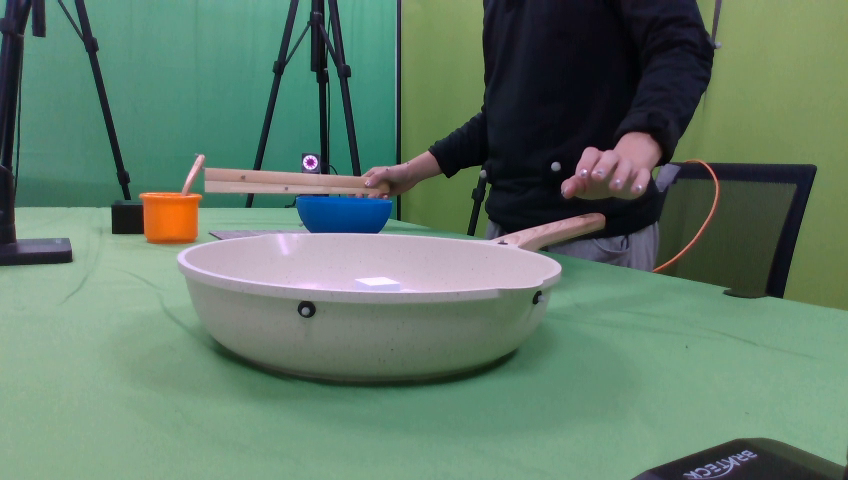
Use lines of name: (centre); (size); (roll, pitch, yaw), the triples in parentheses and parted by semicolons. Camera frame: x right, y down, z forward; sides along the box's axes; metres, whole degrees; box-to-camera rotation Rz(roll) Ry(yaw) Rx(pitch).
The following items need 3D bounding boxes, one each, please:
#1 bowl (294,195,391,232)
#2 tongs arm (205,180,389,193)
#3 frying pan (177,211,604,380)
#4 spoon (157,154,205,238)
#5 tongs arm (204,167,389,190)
bowl: (-0.127, -0.027, 0.946); (0.151, 0.077, 0.151); (2, 7, 0)
tongs arm: (-0.269, -0.118, 1.305); (0.386, 0.026, 0.050); (0, -7, -16)
frying pan: (0.034, 0.019, 0.556); (0.490, 0.102, 0.305); (-15, 18, -42)
spoon: (-0.392, -0.076, 0.998); (0.041, 0.193, 0.021); (1, -36, 6)
tongs arm: (-0.243, -0.125, 1.231); (0.390, 0.027, 0.028); (1, -10, -28)
